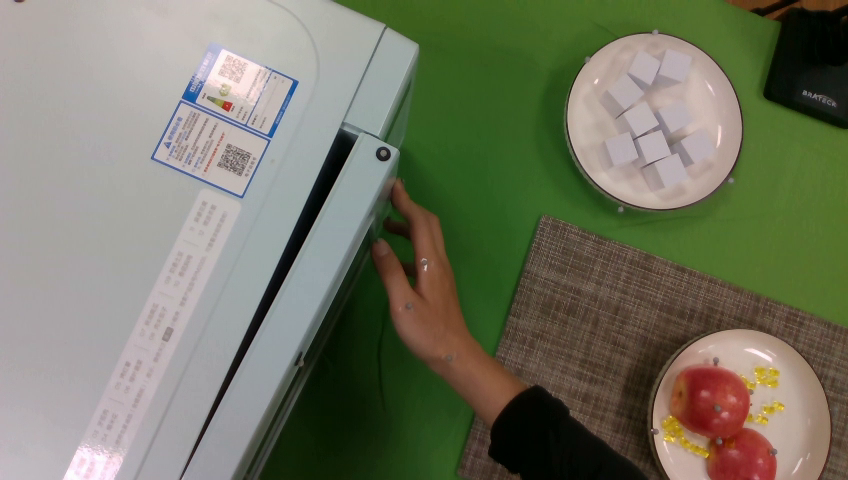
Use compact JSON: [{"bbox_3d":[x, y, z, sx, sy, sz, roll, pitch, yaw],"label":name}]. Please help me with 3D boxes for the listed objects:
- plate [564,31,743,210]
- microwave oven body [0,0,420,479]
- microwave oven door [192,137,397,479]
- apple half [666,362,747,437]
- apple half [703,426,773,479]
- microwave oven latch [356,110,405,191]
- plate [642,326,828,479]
[{"bbox_3d":[0.260,-0.134,0.699,0.208,0.039,0.207,1,84,-5],"label":"plate"},{"bbox_3d":[-0.244,-0.002,0.523,0.326,0.260,0.441,23,83,-3],"label":"microwave oven body"},{"bbox_3d":[-0.119,0.098,0.520,0.039,0.244,0.355,26,82,-2],"label":"microwave oven door"},{"bbox_3d":[0.309,0.172,0.654,0.075,0.053,0.080,18,84,-1],"label":"apple half"},{"bbox_3d":[0.347,0.243,0.660,0.081,0.033,0.081,1,81,-6],"label":"apple half"},{"bbox_3d":[-0.047,-0.094,0.647,0.030,0.029,0.079,26,83,-3],"label":"microwave oven latch"},{"bbox_3d":[0.338,0.198,0.670,0.209,0.038,0.208,1,85,-5],"label":"plate"}]
